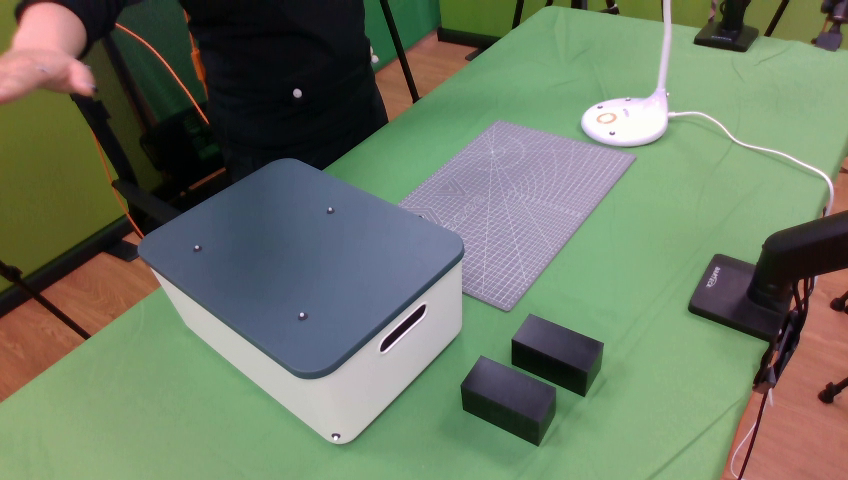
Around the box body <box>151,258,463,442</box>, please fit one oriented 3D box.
[{"bbox_3d":[-0.152,0.064,0.807,0.361,0.161,0.255,26,51,33],"label":"box body"}]

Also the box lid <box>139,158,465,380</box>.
[{"bbox_3d":[-0.158,0.010,0.757,0.368,0.015,0.264,26,50,33],"label":"box lid"}]

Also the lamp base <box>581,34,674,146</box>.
[{"bbox_3d":[0.392,-0.291,1.129,0.180,0.181,0.159,-11,41,-8],"label":"lamp base"}]

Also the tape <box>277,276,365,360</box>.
[{"bbox_3d":[-0.140,0.106,0.832,0.117,0.053,0.116,-4,41,4],"label":"tape"}]
